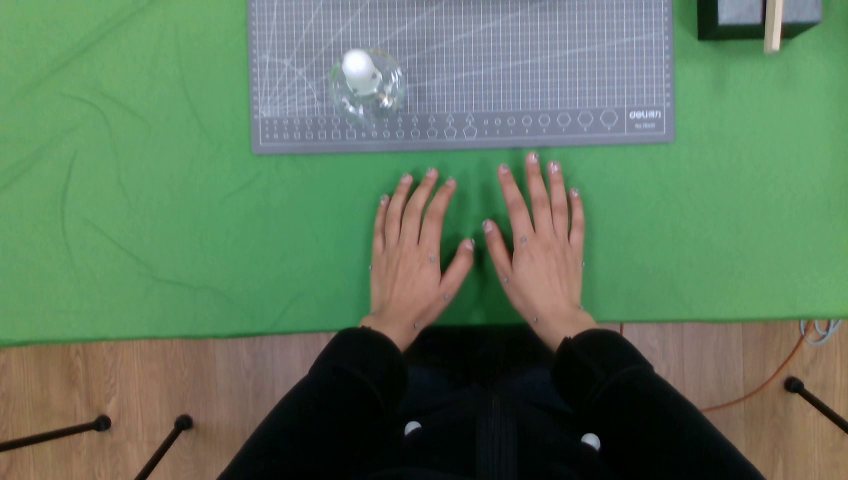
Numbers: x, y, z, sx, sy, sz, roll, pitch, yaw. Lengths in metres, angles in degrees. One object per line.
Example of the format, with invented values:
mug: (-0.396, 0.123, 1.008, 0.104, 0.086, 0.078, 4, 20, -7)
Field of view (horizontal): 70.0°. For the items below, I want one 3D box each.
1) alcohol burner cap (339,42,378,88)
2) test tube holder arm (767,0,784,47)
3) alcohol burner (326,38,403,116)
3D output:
alcohol burner cap: (-0.062, -0.163, 0.556, 0.034, 0.048, 0.034, 0, 86, 5)
test tube holder arm: (0.336, -0.276, 0.578, 0.013, 0.015, 0.178, -2, 93, -5)
alcohol burner: (-0.060, -0.163, 0.591, 0.078, 0.119, 0.078, 0, 90, 1)
